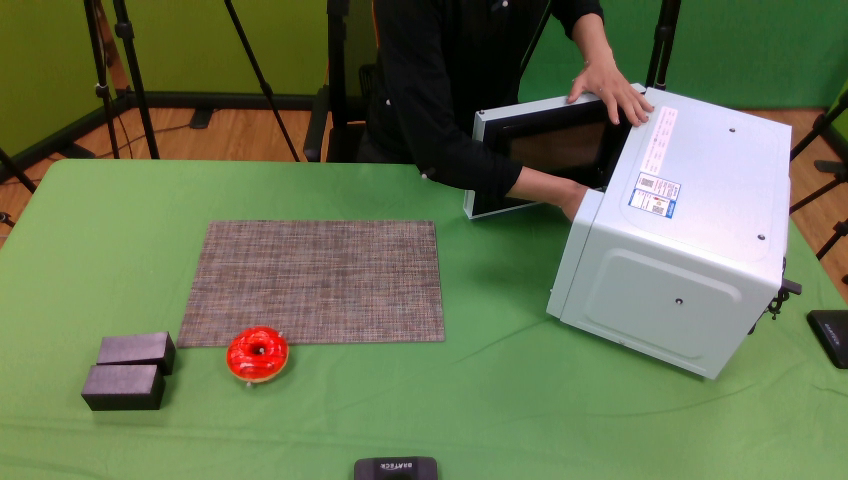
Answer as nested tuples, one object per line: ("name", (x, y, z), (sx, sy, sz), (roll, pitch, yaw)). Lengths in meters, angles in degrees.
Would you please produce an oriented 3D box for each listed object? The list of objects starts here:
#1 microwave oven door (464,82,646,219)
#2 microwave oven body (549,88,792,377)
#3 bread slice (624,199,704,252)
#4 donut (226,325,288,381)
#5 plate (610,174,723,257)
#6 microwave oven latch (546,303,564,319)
("microwave oven door", (0.257, -0.178, 1.210), (0.356, 0.245, 0.039), (-14, 48, -16))
("microwave oven body", (0.456, -0.028, 1.088), (0.325, 0.261, 0.440), (20, 47, 16))
("bread slice", (0.466, -0.035, 1.166), (0.131, 0.019, 0.104), (-13, 54, -1))
("donut", (-0.270, 0.182, 0.984), (0.099, 0.048, 0.098), (5, 49, -5))
("plate", (0.459, -0.044, 1.163), (0.208, 0.039, 0.206), (0, 49, 0))
("microwave oven latch", (0.242, 0.102, 1.081), (0.030, 0.029, 0.079), (22, 48, 17))
